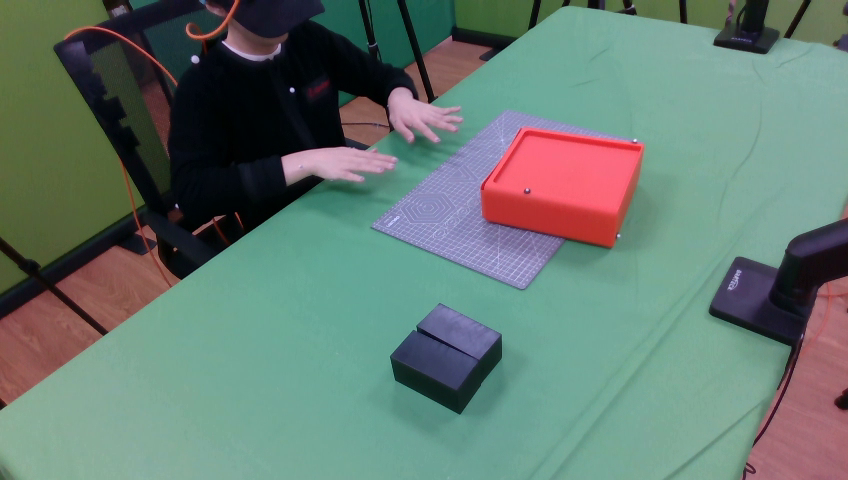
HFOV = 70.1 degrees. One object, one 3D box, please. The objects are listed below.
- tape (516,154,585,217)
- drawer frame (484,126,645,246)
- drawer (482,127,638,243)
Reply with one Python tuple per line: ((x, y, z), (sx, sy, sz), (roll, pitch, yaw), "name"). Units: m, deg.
((0.211, -0.093, 1.010), (0.117, 0.053, 0.116), (-6, 39, 5), "tape")
((0.234, -0.096, 1.003), (0.212, 0.083, 0.202), (14, 44, 22), "drawer frame")
((0.228, -0.097, 1.007), (0.210, 0.073, 0.194), (14, 44, 23), "drawer")
